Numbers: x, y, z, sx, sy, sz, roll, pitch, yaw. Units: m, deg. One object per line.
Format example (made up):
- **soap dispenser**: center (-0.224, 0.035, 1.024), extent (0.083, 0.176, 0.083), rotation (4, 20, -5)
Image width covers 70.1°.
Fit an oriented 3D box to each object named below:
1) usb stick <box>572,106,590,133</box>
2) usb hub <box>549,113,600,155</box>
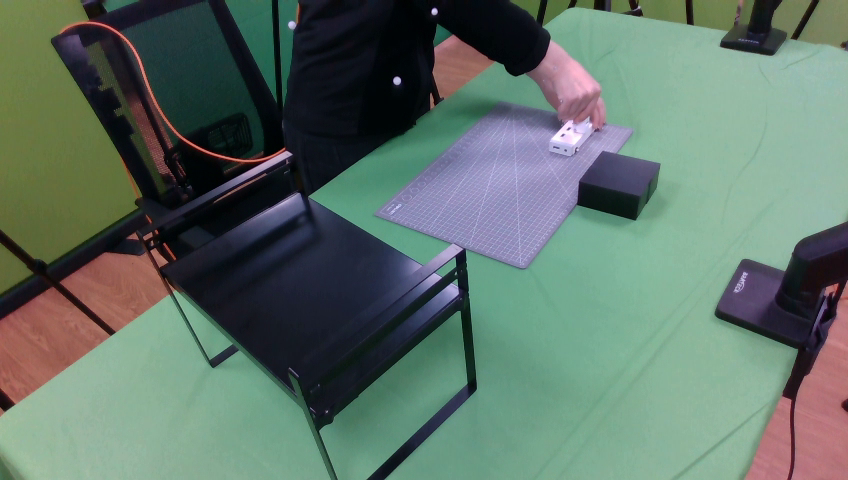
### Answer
- **usb stick**: center (0.294, -0.220, 1.136), extent (0.027, 0.059, 0.021), rotation (18, 46, 22)
- **usb hub**: center (0.292, -0.207, 1.167), extent (0.049, 0.025, 0.125), rotation (21, 49, 30)
